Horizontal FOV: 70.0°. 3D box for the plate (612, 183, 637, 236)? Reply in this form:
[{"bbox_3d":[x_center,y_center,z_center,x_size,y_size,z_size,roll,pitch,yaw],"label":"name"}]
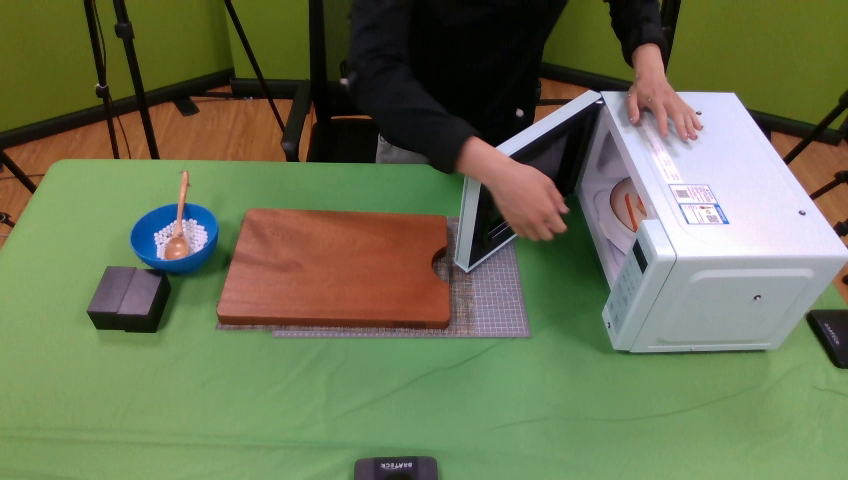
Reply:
[{"bbox_3d":[0.472,-0.052,1.188,0.208,0.039,0.206,-1,45,1],"label":"plate"}]

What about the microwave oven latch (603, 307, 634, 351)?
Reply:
[{"bbox_3d":[0.332,0.153,1.044,0.030,0.029,0.078,0,45,-3],"label":"microwave oven latch"}]

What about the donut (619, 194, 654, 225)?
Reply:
[{"bbox_3d":[0.430,-0.060,1.175,0.099,0.048,0.098,-8,25,4],"label":"donut"}]

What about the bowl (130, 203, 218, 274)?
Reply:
[{"bbox_3d":[-0.450,0.009,1.116,0.151,0.077,0.150,3,45,-3],"label":"bowl"}]

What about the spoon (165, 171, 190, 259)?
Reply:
[{"bbox_3d":[-0.452,-0.046,1.129,0.041,0.022,0.193,-2,69,-1],"label":"spoon"}]

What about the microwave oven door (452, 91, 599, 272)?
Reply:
[{"bbox_3d":[0.197,-0.115,1.153,0.356,0.245,0.039,-34,57,-31],"label":"microwave oven door"}]

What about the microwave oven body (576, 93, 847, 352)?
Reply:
[{"bbox_3d":[0.475,-0.042,1.109,0.326,0.261,0.438,-1,45,-4],"label":"microwave oven body"}]

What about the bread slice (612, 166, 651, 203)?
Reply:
[{"bbox_3d":[0.436,-0.106,1.154,0.134,0.018,0.106,-5,42,-27],"label":"bread slice"}]

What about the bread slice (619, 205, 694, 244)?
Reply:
[{"bbox_3d":[0.463,-0.036,1.204,0.131,0.019,0.104,-8,35,7],"label":"bread slice"}]
